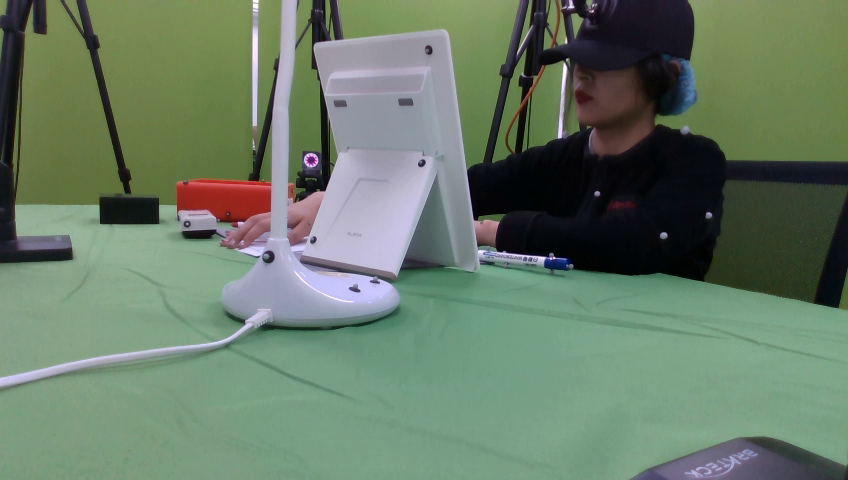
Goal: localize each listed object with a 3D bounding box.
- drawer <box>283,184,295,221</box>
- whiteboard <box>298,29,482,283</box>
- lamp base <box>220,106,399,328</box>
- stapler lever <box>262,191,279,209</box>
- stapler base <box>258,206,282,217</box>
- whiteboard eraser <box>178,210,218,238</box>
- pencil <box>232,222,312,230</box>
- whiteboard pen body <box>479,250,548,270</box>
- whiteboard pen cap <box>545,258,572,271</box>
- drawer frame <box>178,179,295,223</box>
[{"bbox_3d":[-0.394,-0.087,1.317,0.212,0.073,0.194,1,8,-7],"label":"drawer"},{"bbox_3d":[-0.075,-0.082,0.742,0.216,0.305,0.144,9,29,37],"label":"whiteboard"},{"bbox_3d":[-0.101,-0.023,0.531,0.160,0.180,0.179,4,10,10],"label":"lamp base"},{"bbox_3d":[-0.329,-0.086,1.306,0.027,0.040,0.118,9,3,-9],"label":"stapler lever"},{"bbox_3d":[-0.331,-0.065,1.305,0.041,0.024,0.130,9,-2,-9],"label":"stapler base"},{"bbox_3d":[-0.380,-0.027,1.014,0.056,0.042,0.112,0,8,-25],"label":"whiteboard eraser"},{"bbox_3d":[-0.261,-0.025,1.141,0.195,0.012,0.012,2,7,-26],"label":"pencil"},{"bbox_3d":[0.130,0.028,0.827,0.140,0.017,0.017,7,8,38],"label":"whiteboard pen body"},{"bbox_3d":[0.175,0.032,0.790,0.033,0.018,0.018,4,7,37],"label":"whiteboard pen cap"},{"bbox_3d":[-0.397,-0.088,1.315,0.214,0.082,0.201,1,8,-8],"label":"drawer frame"}]
